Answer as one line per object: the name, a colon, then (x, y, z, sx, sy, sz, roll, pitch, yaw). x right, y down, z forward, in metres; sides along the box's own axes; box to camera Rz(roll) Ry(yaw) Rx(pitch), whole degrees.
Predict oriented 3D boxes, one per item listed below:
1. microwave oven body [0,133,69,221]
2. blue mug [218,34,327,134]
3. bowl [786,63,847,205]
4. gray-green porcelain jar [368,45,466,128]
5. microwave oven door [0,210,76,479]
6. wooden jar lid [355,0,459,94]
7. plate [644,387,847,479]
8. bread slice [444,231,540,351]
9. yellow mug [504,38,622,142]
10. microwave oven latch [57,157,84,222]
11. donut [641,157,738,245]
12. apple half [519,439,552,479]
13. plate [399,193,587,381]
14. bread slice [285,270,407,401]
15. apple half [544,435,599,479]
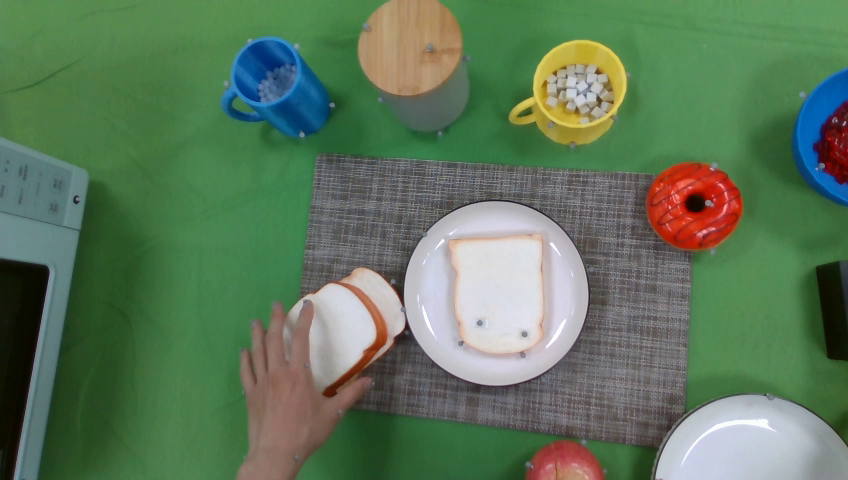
microwave oven body: (-0.631, 0.085, 0.668, 0.325, 0.261, 0.440, 5, 84, 9)
blue mug: (-0.186, -0.176, 0.721, 0.116, 0.106, 0.082, -21, 79, 6)
bowl: (0.448, -0.102, 0.633, 0.151, 0.077, 0.151, -1, 83, 9)
gray-green porcelain jar: (-0.007, -0.191, 0.687, 0.106, 0.127, 0.105, -1, 82, 8)
microwave oven door: (-0.493, 0.138, 0.636, 0.039, 0.245, 0.355, 5, 83, 10)
wooden jar lid: (-0.017, -0.200, 0.626, 0.108, 0.021, 0.108, -1, 80, 9)
plate: (0.333, 0.256, 0.623, 0.209, 0.038, 0.208, -1, 82, 9)
bread slice: (0.082, 0.057, 0.684, 0.107, 0.018, 0.134, -6, 81, 8)
yellow mug: (0.154, -0.164, 0.690, 0.131, 0.064, 0.099, -19, 80, 6)
microwave oven latch: (-0.452, -0.064, 0.760, 0.030, 0.029, 0.079, 8, 84, 9)
donut: (0.288, -0.042, 0.662, 0.099, 0.048, 0.099, -1, 83, 9)
apple half: (0.116, 0.249, 0.637, 0.033, 0.081, 0.081, -3, 82, 4)
plate: (0.076, 0.052, 0.684, 0.207, 0.039, 0.207, -1, 83, 8)
bread slice: (-0.079, 0.103, 0.699, 0.105, 0.019, 0.131, 39, 88, 3)
apple half: (0.155, 0.245, 0.634, 0.053, 0.075, 0.080, -4, 80, 2)
